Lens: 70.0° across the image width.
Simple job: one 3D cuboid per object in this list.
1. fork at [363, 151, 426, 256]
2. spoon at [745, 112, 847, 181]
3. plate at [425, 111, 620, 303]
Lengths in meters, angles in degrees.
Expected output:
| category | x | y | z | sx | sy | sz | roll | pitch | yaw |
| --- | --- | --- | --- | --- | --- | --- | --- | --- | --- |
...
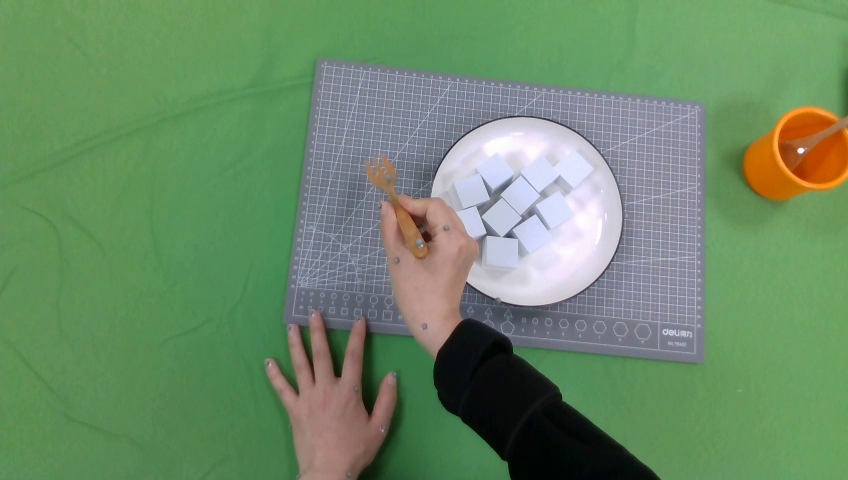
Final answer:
| category | x | y | z | sx | sy | sz | roll | pitch | yaw |
| --- | --- | --- | --- | --- | --- | --- | --- | --- | --- |
| fork | -0.028 | -0.039 | 0.556 | 0.028 | 0.205 | 0.019 | -20 | 120 | -5 |
| spoon | 0.435 | -0.122 | 0.636 | 0.022 | 0.194 | 0.041 | -10 | 70 | -50 |
| plate | 0.103 | -0.035 | 0.650 | 0.208 | 0.039 | 0.207 | 1 | 80 | -4 |
